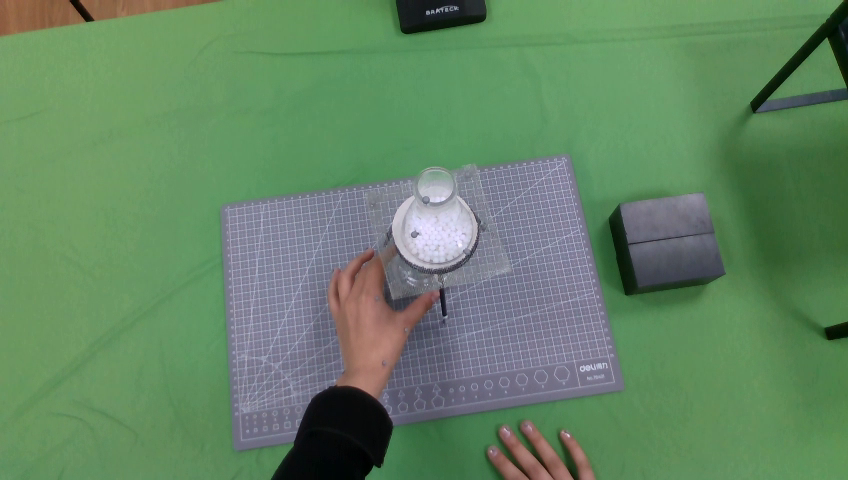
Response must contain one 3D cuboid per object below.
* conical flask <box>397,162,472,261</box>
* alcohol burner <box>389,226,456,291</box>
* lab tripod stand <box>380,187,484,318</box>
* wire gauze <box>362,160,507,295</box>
[{"bbox_3d":[0.009,-0.031,0.558,0.075,0.122,0.075,0,73,1],"label":"conical flask"},{"bbox_3d":[-0.002,0.016,0.685,0.078,0.120,0.077,0,73,0],"label":"alcohol burner"},{"bbox_3d":[0.014,0.002,0.678,0.148,0.132,0.147,0,72,1],"label":"lab tripod stand"},{"bbox_3d":[0.010,-0.014,0.615,0.125,0.011,0.121,-13,76,-6],"label":"wire gauze"}]
